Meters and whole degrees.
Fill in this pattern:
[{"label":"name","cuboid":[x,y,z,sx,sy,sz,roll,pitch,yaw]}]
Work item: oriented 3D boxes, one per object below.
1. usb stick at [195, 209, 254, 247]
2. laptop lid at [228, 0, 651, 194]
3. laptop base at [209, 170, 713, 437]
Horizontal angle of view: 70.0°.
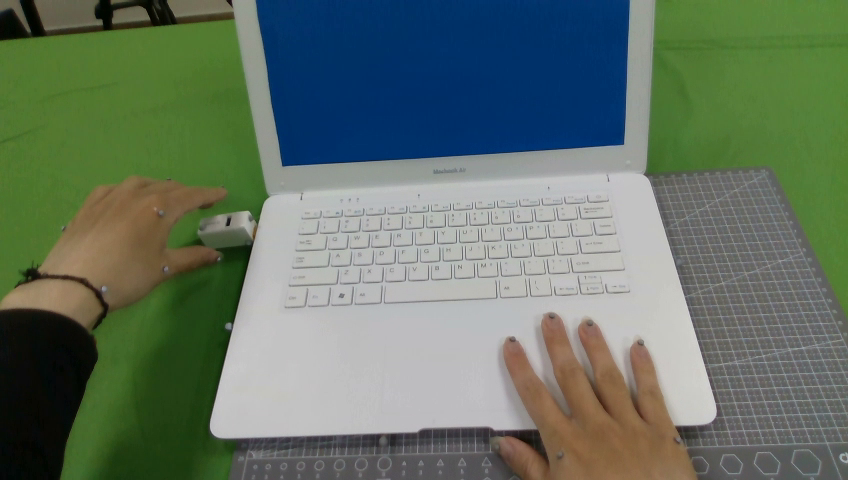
[{"label":"usb stick","cuboid":[-0.171,-0.011,0.543,0.059,0.027,0.021,-6,51,4]},{"label":"laptop lid","cuboid":[0.014,-0.157,0.521,0.356,0.243,0.013,-5,21,5]},{"label":"laptop base","cuboid":[0.022,0.042,0.492,0.354,0.023,0.233,-3,54,4]}]
